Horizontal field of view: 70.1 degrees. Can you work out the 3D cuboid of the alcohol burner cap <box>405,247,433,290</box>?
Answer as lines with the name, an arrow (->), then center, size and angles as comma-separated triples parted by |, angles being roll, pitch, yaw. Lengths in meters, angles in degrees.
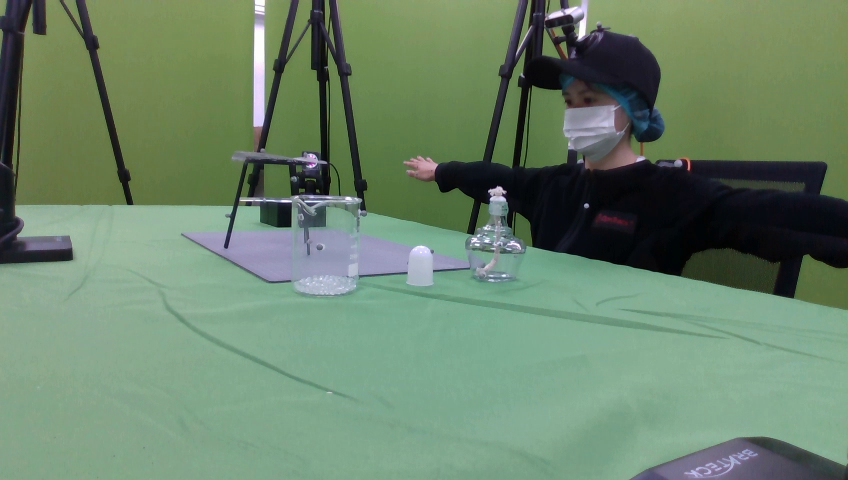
alcohol burner cap -> -0.005, 0.031, 0.698 | 0.034, 0.048, 0.034 | 3, 8, 0

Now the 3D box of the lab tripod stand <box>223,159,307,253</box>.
lab tripod stand -> -0.220, -0.053, 0.896 | 0.148, 0.131, 0.148 | 1, 6, 0

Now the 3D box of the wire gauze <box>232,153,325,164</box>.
wire gauze -> -0.215, -0.118, 0.881 | 0.125, 0.011, 0.121 | 0, 7, -19

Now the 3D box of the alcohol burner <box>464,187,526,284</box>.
alcohol burner -> 0.089, -0.007, 0.747 | 0.078, 0.119, 0.078 | 4, 9, 0

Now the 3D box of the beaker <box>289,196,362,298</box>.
beaker -> -0.104, 0.006, 0.627 | 0.074, 0.100, 0.084 | 4, 8, 11

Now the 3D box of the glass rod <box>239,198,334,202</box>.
glass rod -> -0.277, -0.081, 1.232 | 0.201, 0.008, 0.008 | -1, 8, -30
